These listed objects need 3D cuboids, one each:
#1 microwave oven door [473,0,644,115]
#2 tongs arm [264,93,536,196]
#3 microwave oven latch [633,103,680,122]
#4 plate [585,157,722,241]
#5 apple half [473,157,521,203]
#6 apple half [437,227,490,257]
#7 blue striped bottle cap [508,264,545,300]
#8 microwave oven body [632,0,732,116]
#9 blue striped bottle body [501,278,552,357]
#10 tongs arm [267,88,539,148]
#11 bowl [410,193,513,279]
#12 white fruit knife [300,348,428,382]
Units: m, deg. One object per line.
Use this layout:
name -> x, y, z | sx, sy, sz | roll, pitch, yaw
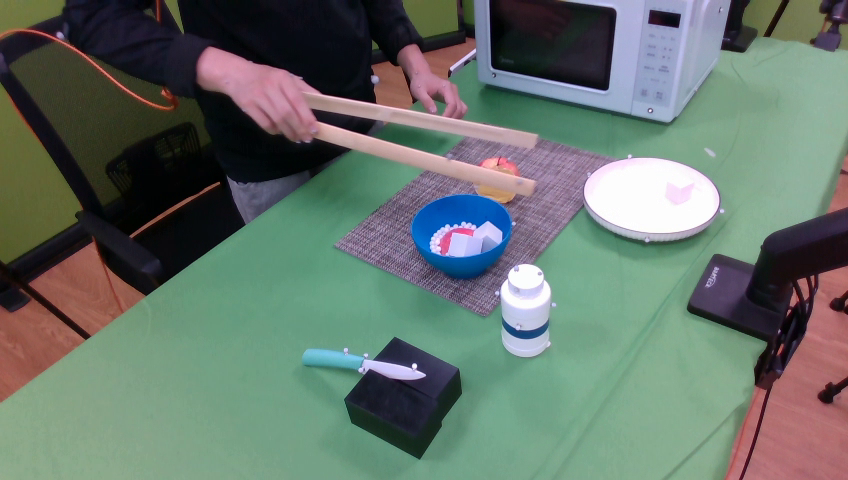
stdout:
microwave oven door -> 0.257, -0.396, 1.199 | 0.353, 0.245, 0.039 | 21, 48, 29
tongs arm -> -0.038, -0.129, 0.810 | 0.385, 0.026, 0.050 | 15, 43, 3
microwave oven latch -> 0.444, -0.249, 1.157 | 0.078, 0.029, 0.030 | 21, 48, 30
plate -> 0.367, -0.063, 0.979 | 0.207, 0.039, 0.206 | -4, 40, 4
apple half -> 0.127, -0.106, 1.029 | 0.080, 0.075, 0.053 | 4, 36, 19
apple half -> 0.056, 0.001, 0.902 | 0.081, 0.033, 0.081 | -3, 41, 3
blue striped bottle cap -> 0.125, 0.051, 0.735 | 0.044, 0.021, 0.044 | -5, 39, 5
microwave oven body -> 0.377, -0.462, 1.267 | 0.438, 0.261, 0.327 | 21, 48, 30
blue striped bottle body -> 0.129, 0.089, 0.769 | 0.063, 0.121, 0.063 | -4, 41, 4
tongs arm -> -0.026, -0.172, 0.861 | 0.388, 0.028, 0.028 | 9, 46, -4
bowl -> 0.058, 0.005, 0.905 | 0.151, 0.077, 0.150 | -4, 40, 4
white fruit knife -> -0.079, 0.154, 0.748 | 0.206, 0.027, 0.016 | 1, 20, 35
